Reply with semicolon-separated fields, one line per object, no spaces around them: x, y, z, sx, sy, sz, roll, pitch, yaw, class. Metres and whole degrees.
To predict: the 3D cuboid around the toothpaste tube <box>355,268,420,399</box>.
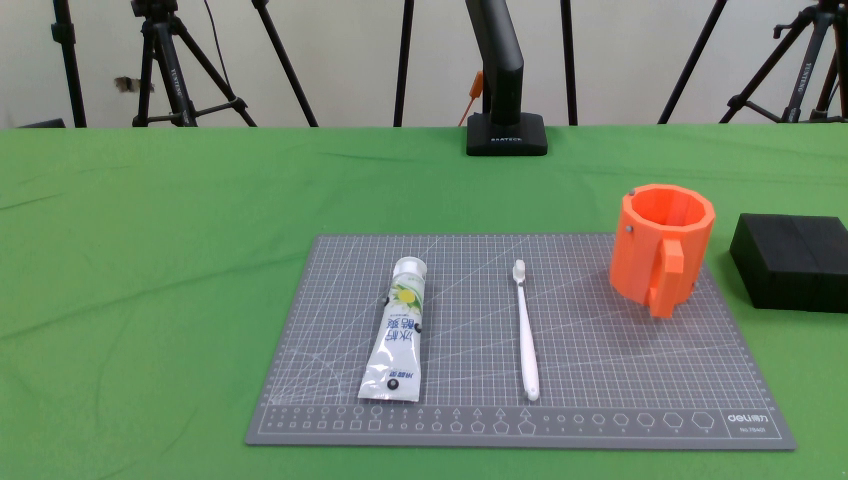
-0.028;0.085;0.590;0.055;0.035;0.163;-2;39;7;toothpaste tube

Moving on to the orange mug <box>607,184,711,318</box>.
0.235;0.014;0.609;0.083;0.101;0.125;5;33;10;orange mug

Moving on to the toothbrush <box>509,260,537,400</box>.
0.097;0.081;0.596;0.014;0.017;0.180;11;38;-5;toothbrush

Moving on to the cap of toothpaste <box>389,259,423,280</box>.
-0.020;0.035;0.649;0.037;0.038;0.011;2;40;6;cap of toothpaste
